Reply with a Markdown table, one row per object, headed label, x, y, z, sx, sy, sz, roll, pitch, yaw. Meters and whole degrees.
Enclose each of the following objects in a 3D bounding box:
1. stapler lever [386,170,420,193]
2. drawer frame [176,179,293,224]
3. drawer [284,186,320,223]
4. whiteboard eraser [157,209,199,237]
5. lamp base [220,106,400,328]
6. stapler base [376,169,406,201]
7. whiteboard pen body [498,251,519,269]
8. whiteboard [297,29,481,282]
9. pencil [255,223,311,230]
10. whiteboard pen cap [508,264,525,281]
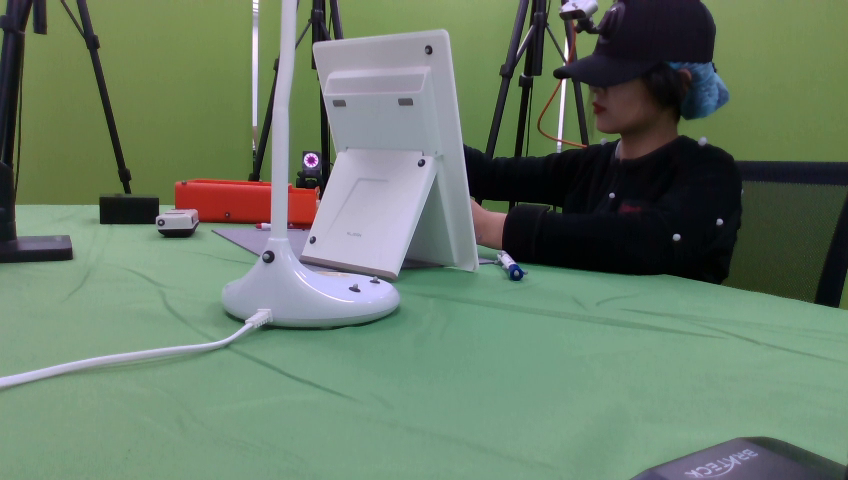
| label | x | y | z | sx | sy | sz | roll | pitch | yaw |
| --- | --- | --- | --- | --- | --- | --- | --- | --- | --- |
| stapler lever | -0.038 | -0.108 | 1.105 | 0.040 | 0.027 | 0.117 | -12 | 18 | -13 |
| drawer frame | -0.395 | -0.086 | 1.299 | 0.214 | 0.082 | 0.201 | 1 | 8 | -9 |
| drawer | -0.333 | -0.083 | 1.310 | 0.212 | 0.073 | 0.194 | 1 | 8 | -8 |
| whiteboard eraser | -0.411 | -0.029 | 1.016 | 0.056 | 0.042 | 0.112 | 2 | 7 | -16 |
| lamp base | -0.101 | -0.023 | 0.531 | 0.160 | 0.180 | 0.179 | 4 | 10 | 10 |
| stapler base | -0.055 | -0.103 | 1.099 | 0.024 | 0.041 | 0.130 | -14 | 19 | -20 |
| whiteboard pen body | 0.116 | 0.032 | 0.810 | 0.017 | 0.017 | 0.140 | 2 | 8 | -1 |
| whiteboard | -0.075 | -0.082 | 0.741 | 0.216 | 0.305 | 0.144 | 9 | 29 | 37 |
| pencil | -0.216 | -0.022 | 1.134 | 0.195 | 0.012 | 0.012 | 2 | 7 | -22 |
| whiteboard pen cap | 0.115 | 0.039 | 0.752 | 0.018 | 0.018 | 0.033 | 2 | 9 | 0 |
